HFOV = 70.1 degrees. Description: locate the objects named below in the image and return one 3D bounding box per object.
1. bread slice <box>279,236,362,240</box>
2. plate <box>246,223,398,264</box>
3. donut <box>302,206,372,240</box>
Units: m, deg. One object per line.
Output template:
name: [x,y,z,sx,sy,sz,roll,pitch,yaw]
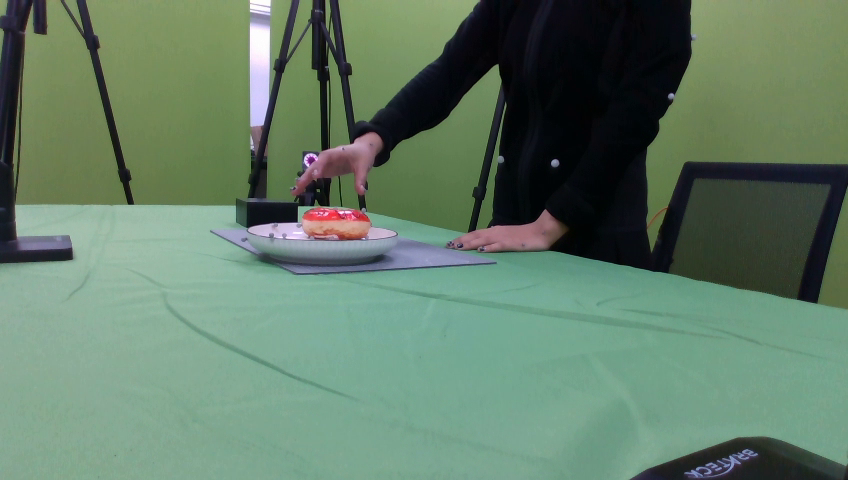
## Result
bread slice: [-0.139,0.007,0.839,0.132,0.019,0.104,-2,8,-35]
plate: [-0.140,0.004,0.847,0.209,0.038,0.209,2,7,0]
donut: [-0.123,-0.023,0.853,0.099,0.048,0.099,3,3,0]
